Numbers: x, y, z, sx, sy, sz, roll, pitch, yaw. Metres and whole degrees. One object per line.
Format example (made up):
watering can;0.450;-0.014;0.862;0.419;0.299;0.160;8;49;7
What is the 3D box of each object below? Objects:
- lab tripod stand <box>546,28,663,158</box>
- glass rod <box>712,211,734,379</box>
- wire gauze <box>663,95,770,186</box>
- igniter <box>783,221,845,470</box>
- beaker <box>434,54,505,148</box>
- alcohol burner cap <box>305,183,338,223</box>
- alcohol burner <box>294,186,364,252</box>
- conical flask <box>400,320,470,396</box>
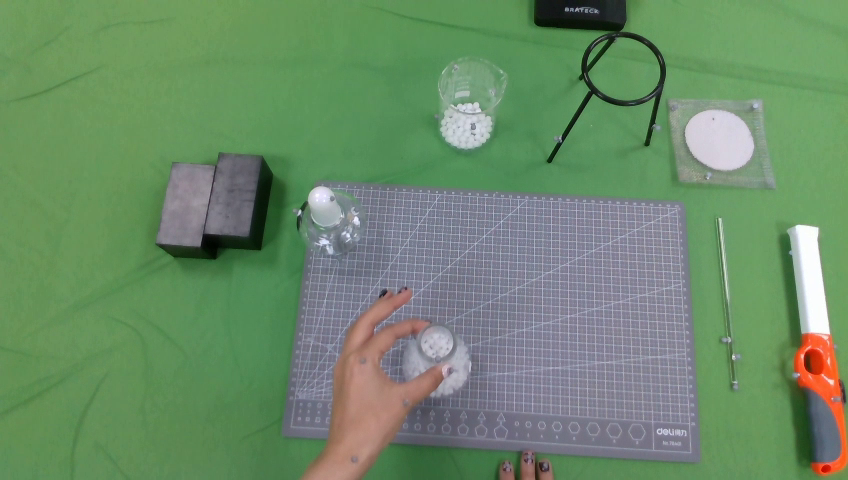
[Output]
lab tripod stand;0.208;-0.165;0.705;0.148;0.132;0.147;0;75;0
glass rod;0.346;0.060;0.702;0.008;0.008;0.198;2;73;0
wire gauze;0.367;-0.128;0.760;0.125;0.011;0.121;2;73;-2
igniter;0.435;0.111;0.678;0.057;0.025;0.275;7;73;-9
beaker;0.052;-0.162;0.720;0.084;0.101;0.073;-21;74;-7
alcohol burner cap;-0.108;-0.042;0.634;0.034;0.048;0.033;1;67;-2
alcohol burner;-0.108;-0.029;0.667;0.078;0.120;0.077;0;73;2
conical flask;0.010;0.111;0.601;0.075;0.122;0.075;0;69;1
